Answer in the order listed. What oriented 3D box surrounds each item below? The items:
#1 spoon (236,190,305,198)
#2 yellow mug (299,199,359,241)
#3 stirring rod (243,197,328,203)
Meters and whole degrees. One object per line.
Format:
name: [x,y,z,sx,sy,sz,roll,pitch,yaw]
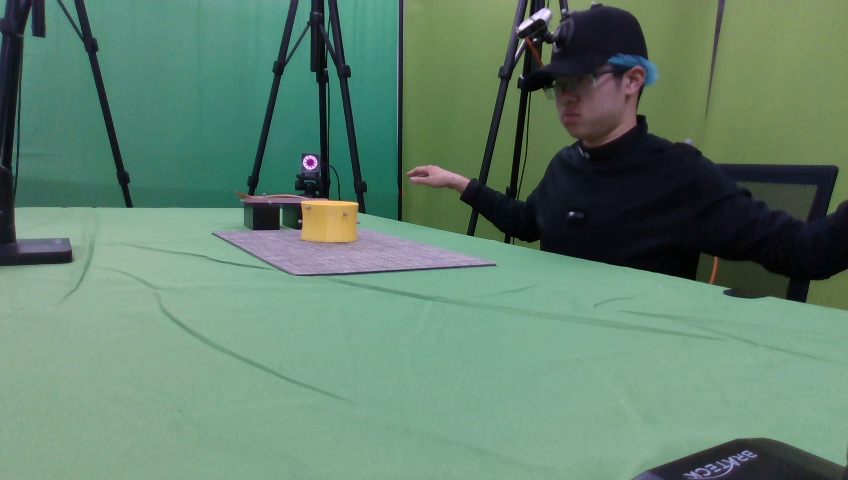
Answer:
spoon: [-0.290,-0.088,1.248,0.195,0.021,0.041,0,5,-32]
yellow mug: [-0.157,-0.036,1.060,0.099,0.064,0.131,6,7,27]
stirring rod: [-0.271,-0.079,1.201,0.177,0.006,0.014,-2,46,-36]
